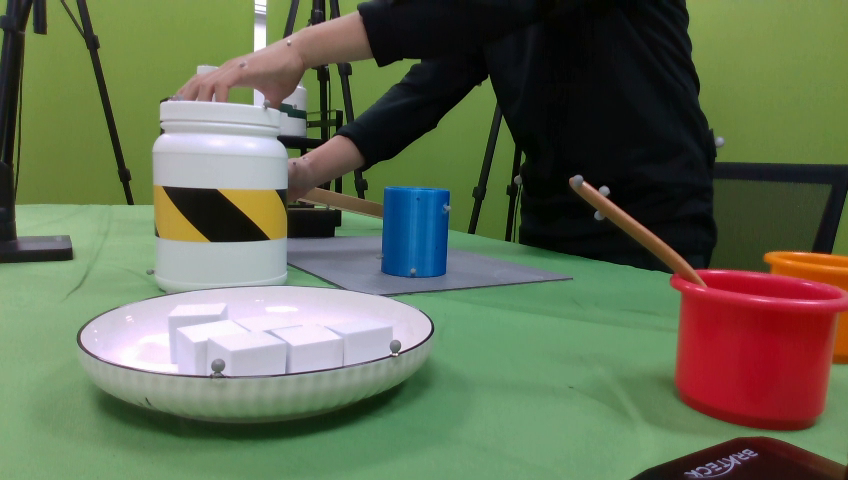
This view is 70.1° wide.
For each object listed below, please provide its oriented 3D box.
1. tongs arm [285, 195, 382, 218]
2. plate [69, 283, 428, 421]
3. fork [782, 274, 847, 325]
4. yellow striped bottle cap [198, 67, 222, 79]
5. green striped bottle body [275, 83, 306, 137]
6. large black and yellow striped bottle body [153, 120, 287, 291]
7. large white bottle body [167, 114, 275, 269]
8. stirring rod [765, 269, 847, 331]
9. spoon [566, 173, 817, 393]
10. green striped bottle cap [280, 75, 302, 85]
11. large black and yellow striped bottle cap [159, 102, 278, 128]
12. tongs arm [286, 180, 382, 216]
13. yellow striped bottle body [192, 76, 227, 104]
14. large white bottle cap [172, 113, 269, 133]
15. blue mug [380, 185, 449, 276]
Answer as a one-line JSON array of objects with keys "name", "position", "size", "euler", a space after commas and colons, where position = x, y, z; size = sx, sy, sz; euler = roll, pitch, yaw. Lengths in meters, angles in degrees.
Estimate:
[{"name": "tongs arm", "position": [-0.165, -0.074, 1.216], "size": [0.389, 0.027, 0.028], "euler": [11, -6, -24]}, {"name": "plate", "position": [-0.102, 0.066, 0.381], "size": [0.208, 0.039, 0.207], "euler": [2, 7, 0]}, {"name": "fork", "position": [0.332, 0.018, 0.443], "size": [0.028, 0.018, 0.207], "euler": [-1, -36, -15]}, {"name": "yellow striped bottle cap", "position": [-0.412, -0.320, 1.163], "size": [0.044, 0.018, 0.044], "euler": [0, 6, 0]}, {"name": "green striped bottle body", "position": [-0.269, -0.269, 1.221], "size": [0.063, 0.119, 0.063], "euler": [2, 7, 0]}, {"name": "large black and yellow striped bottle body", "position": [-0.208, -0.042, 0.626], "size": [0.131, 0.184, 0.130], "euler": [2, 7, 0]}, {"name": "large white bottle body", "position": [-0.257, -0.063, 0.772], "size": [0.131, 0.184, 0.130], "euler": [2, 7, 0]}, {"name": "stirring rod", "position": [0.351, 0.020, 0.483], "size": [0.176, 0.006, 0.014], "euler": [-39, -7, 12]}, {"name": "spoon", "position": [0.161, 0.024, 0.370], "size": [0.193, 0.021, 0.042], "euler": [47, 18, 3]}, {"name": "green striped bottle cap", "position": [-0.267, -0.320, 1.216], "size": [0.044, 0.020, 0.044], "euler": [3, 9, 0]}, {"name": "large black and yellow striped bottle cap", "position": [-0.207, -0.125, 0.615], "size": [0.115, 0.019, 0.115], "euler": [2, 6, 0]}, {"name": "tongs arm", "position": [-0.122, -0.066, 1.147], "size": [0.387, 0.026, 0.050], "euler": [11, -2, -37]}, {"name": "yellow striped bottle body", "position": [-0.414, -0.268, 1.169], "size": [0.063, 0.120, 0.063], "euler": [2, 7, 0]}, {"name": "large white bottle cap", "position": [-0.255, -0.146, 0.761], "size": [0.115, 0.018, 0.115], "euler": [2, 7, 0]}, {"name": "blue mug", "position": [-0.018, -0.016, 0.764], "size": [0.083, 0.106, 0.116], "euler": [-2, 8, -25]}]
